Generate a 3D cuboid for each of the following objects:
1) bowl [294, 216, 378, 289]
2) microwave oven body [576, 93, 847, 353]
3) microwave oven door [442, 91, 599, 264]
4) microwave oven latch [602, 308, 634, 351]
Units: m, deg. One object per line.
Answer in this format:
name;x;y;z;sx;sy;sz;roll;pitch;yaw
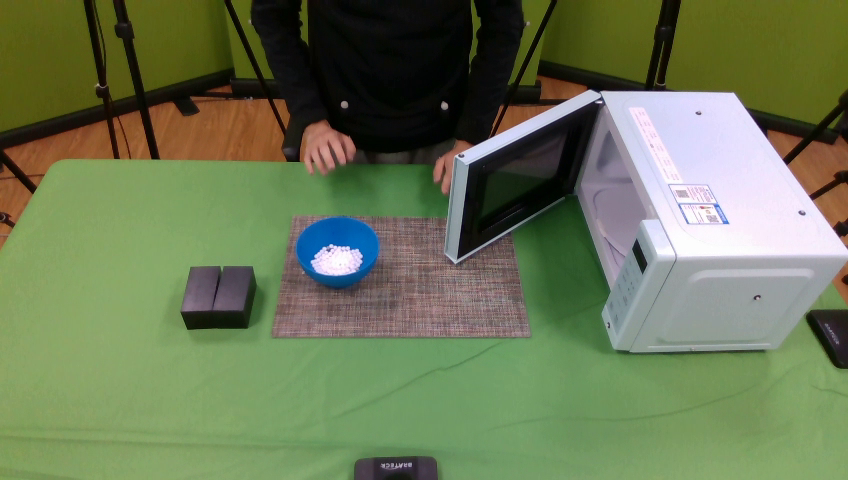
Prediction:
bowl;-0.158;0.036;1.110;0.151;0.077;0.150;3;45;-2
microwave oven body;0.475;-0.041;1.109;0.326;0.261;0.438;-1;45;-4
microwave oven door;0.187;-0.123;1.160;0.356;0.245;0.039;-29;55;-28
microwave oven latch;0.332;0.153;1.043;0.030;0.029;0.078;0;45;-4
